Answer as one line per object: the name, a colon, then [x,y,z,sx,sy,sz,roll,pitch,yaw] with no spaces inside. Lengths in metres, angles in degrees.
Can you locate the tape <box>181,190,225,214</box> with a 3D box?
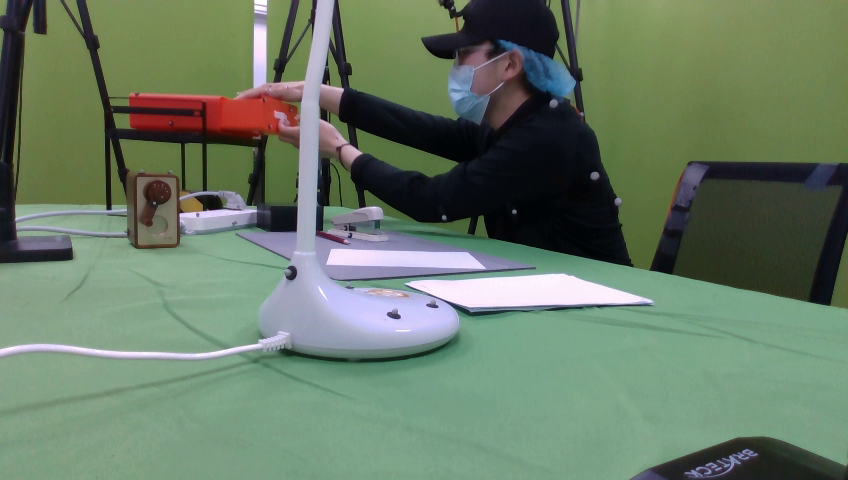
tape: [-0.515,-0.087,1.389,0.117,0.052,0.117,3,7,0]

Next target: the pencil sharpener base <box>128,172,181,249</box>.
pencil sharpener base: [-0.395,-0.044,0.887,0.062,0.107,0.076,-2,9,-34]

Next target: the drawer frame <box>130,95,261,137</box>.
drawer frame: [-0.510,-0.280,1.377,0.213,0.082,0.202,3,8,8]

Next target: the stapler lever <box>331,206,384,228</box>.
stapler lever: [-0.118,-0.043,1.070,0.117,0.040,0.027,7,8,41]

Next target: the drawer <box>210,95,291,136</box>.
drawer: [-0.418,-0.276,1.366,0.211,0.073,0.195,0,7,9]

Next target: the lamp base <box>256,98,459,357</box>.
lamp base: [-0.055,-0.013,0.463,0.160,0.180,0.180,6,11,27]

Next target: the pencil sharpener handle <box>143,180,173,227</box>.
pencil sharpener handle: [-0.371,-0.050,0.840,0.036,0.067,0.030,24,-5,-34]

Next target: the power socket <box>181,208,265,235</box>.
power socket: [-0.381,-0.038,1.129,0.072,0.032,0.227,4,8,17]

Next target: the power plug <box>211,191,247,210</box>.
power plug: [-0.386,-0.071,1.204,0.072,0.052,0.035,7,9,26]

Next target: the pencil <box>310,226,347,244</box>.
pencil: [-0.173,-0.010,1.041,0.012,0.012,0.193,-2,10,-31]

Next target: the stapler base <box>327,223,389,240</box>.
stapler base: [-0.117,-0.018,1.073,0.130,0.024,0.041,7,7,41]
